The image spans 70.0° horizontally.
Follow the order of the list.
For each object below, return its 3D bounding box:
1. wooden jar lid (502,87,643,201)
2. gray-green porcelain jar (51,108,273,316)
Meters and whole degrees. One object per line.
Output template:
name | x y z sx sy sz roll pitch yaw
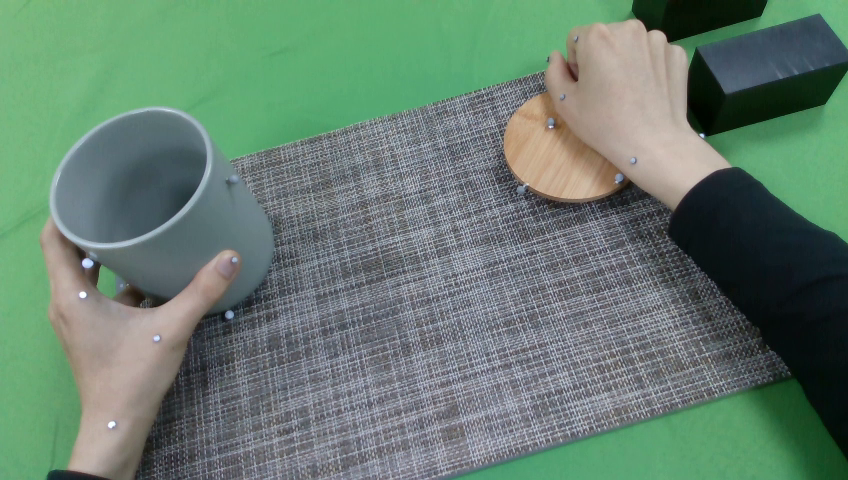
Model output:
wooden jar lid | 0.116 -0.075 0.481 0.108 0.021 0.107 -3 63 7
gray-green porcelain jar | -0.172 -0.011 0.428 0.106 0.127 0.105 -3 61 6
